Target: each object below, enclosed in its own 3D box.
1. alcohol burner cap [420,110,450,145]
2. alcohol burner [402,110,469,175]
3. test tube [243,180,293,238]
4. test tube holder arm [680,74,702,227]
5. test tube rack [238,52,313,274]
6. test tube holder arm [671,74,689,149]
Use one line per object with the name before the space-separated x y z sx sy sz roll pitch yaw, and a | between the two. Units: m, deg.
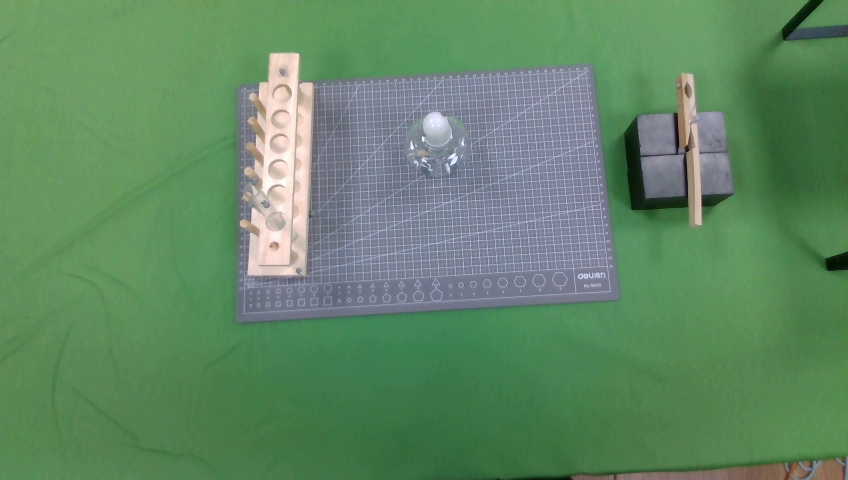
alcohol burner cap | 0.011 -0.124 0.655 0.034 0.048 0.034 0 84 3
alcohol burner | 0.013 -0.117 0.690 0.078 0.119 0.077 0 80 2
test tube | -0.162 -0.028 0.639 0.017 0.151 0.017 0 73 1
test tube holder arm | 0.301 -0.103 0.687 0.013 0.015 0.177 -1 80 -5
test tube rack | -0.175 -0.086 0.701 0.067 0.085 0.241 0 79 1
test tube holder arm | 0.295 -0.147 0.695 0.010 0.015 0.087 0 79 -5
